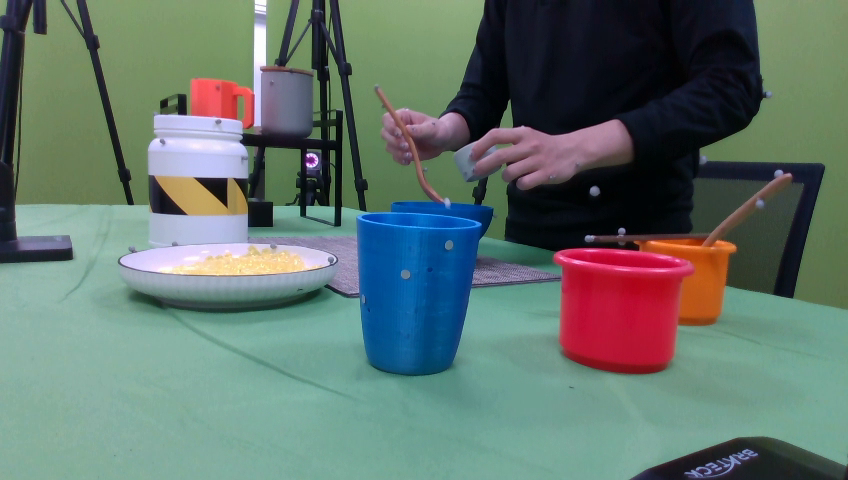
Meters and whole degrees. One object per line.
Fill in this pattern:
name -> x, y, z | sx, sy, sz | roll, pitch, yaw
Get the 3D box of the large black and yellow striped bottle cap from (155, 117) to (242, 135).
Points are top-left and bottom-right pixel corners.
large black and yellow striped bottle cap -> -0.313, -0.159, 0.845 | 0.115, 0.019, 0.115 | 3, 9, 0

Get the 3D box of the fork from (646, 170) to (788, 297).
fork -> 0.256, 0.004, 0.543 | 0.028, 0.018, 0.207 | 3, -36, -9

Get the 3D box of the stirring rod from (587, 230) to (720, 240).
stirring rod -> 0.226, -0.005, 0.587 | 0.177, 0.006, 0.014 | -2, 9, -29

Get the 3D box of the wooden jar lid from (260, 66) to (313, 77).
wooden jar lid -> -0.283, -0.339, 1.244 | 0.108, 0.020, 0.108 | 6, 9, -1

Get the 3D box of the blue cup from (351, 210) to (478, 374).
blue cup -> -0.009, 0.034, 0.414 | 0.093, 0.100, 0.092 | 4, 8, 0

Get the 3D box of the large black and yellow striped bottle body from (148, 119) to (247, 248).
large black and yellow striped bottle body -> -0.318, -0.076, 0.855 | 0.131, 0.184, 0.130 | 2, 7, 0

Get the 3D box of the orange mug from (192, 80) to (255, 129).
orange mug -> -0.389, -0.257, 1.173 | 0.126, 0.100, 0.083 | -1, 6, 9

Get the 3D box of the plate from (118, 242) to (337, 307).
plate -> -0.194, 0.033, 0.615 | 0.209, 0.038, 0.209 | 2, 7, 0

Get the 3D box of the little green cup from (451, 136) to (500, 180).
little green cup -> 0.071, -0.108, 0.810 | 0.061, 0.038, 0.061 | -23, -6, -2

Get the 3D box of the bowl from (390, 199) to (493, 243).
bowl -> 0.023, -0.016, 0.874 | 0.151, 0.077, 0.151 | 3, 7, 0

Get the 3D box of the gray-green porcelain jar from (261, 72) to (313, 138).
gray-green porcelain jar -> -0.284, -0.276, 1.253 | 0.106, 0.126, 0.106 | 2, 8, 0

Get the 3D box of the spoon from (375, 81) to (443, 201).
spoon -> -0.021, -0.140, 0.870 | 0.021, 0.194, 0.041 | -23, 12, 11
